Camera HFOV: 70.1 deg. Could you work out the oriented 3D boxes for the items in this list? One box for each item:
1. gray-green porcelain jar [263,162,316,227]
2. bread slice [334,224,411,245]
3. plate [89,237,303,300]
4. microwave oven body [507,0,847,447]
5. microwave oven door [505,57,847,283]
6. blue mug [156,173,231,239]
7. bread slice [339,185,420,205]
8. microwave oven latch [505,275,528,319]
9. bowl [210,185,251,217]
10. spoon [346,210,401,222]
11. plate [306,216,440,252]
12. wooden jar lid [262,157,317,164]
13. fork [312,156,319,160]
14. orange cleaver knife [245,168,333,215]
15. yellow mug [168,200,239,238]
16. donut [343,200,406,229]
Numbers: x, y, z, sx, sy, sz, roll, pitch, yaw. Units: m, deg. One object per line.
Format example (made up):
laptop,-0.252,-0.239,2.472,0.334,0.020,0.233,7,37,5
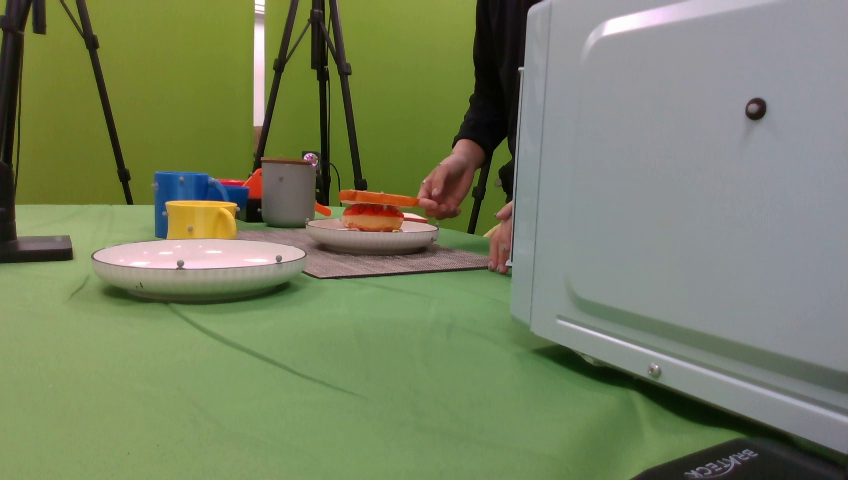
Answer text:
gray-green porcelain jar,-0.271,-0.092,1.217,0.106,0.126,0.106,2,7,0
bread slice,-0.075,-0.010,0.936,0.105,0.019,0.131,0,9,-20
plate,-0.233,0.029,0.637,0.208,0.039,0.207,2,7,0
microwave oven body,0.331,-0.042,0.425,0.444,0.260,0.324,-2,8,-31
microwave oven door,0.279,-0.085,0.706,0.355,0.243,0.039,4,8,16
blue mug,-0.381,-0.057,1.004,0.117,0.106,0.082,1,8,-12
bread slice,-0.080,-0.068,0.938,0.107,0.018,0.134,6,0,-22
microwave oven latch,0.100,0.041,0.471,0.079,0.029,0.030,-1,7,-28
bowl,-0.408,-0.064,1.154,0.151,0.077,0.151,2,8,0
spoon,-0.120,-0.060,1.400,0.042,0.021,0.192,-28,25,-37
plate,-0.080,-0.011,0.949,0.209,0.038,0.209,2,7,0
wooden jar lid,-0.269,-0.154,1.208,0.108,0.020,0.108,3,4,0
fork,-0.331,-0.144,1.506,0.207,0.018,0.028,-42,-20,22
orange cleaver knife,-0.300,-0.089,1.351,0.212,0.077,0.012,28,-9,-34
yellow mug,-0.319,-0.023,0.904,0.130,0.064,0.100,8,11,36
donut,-0.078,-0.038,0.946,0.099,0.048,0.099,1,8,0
